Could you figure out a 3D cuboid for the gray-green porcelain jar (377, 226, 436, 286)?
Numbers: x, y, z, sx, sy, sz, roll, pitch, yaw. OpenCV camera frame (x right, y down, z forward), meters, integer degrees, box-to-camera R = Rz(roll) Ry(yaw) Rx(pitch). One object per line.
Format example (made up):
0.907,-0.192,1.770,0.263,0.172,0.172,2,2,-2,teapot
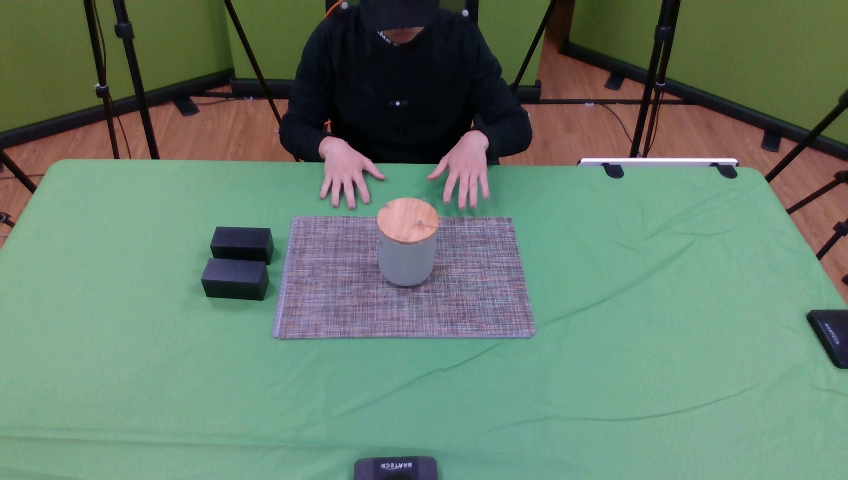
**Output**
-0.033,0.014,1.106,0.106,0.127,0.105,2,46,-2,gray-green porcelain jar

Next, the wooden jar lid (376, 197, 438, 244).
-0.029,-0.031,1.060,0.108,0.021,0.107,2,47,-2,wooden jar lid
